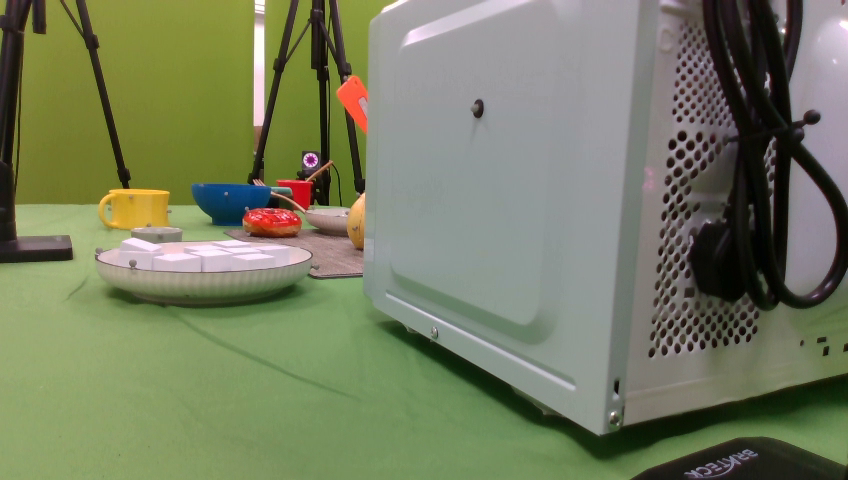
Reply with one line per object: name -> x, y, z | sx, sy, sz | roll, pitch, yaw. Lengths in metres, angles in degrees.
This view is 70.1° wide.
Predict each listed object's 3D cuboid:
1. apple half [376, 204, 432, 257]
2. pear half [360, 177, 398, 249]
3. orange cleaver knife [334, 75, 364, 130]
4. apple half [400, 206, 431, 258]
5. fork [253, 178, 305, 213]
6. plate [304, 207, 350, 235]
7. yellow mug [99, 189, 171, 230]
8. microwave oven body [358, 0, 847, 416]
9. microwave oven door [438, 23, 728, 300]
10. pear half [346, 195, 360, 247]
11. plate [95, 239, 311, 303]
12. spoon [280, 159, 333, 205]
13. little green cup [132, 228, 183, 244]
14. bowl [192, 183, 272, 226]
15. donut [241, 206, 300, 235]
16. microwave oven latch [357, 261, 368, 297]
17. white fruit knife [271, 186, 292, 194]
apple half -> -0.034, -0.013, 0.856 | 0.080, 0.074, 0.053 | 11, 12, 21
pear half -> -0.068, -0.041, 0.924 | 0.056, 0.110, 0.076 | 1, 12, -2
orange cleaver knife -> -0.072, -0.185, 1.002 | 0.012, 0.077, 0.212 | -13, -42, 35
apple half -> -0.008, -0.013, 0.861 | 0.033, 0.081, 0.081 | -4, 9, -22
fork -> -0.294, -0.084, 1.293 | 0.206, 0.018, 0.028 | 29, 12, 26
plate -> -0.123, -0.037, 1.149 | 0.209, 0.038, 0.209 | 2, 7, 0
yellow mug -> -0.519, -0.055, 1.080 | 0.099, 0.064, 0.131 | 7, 10, 26
microwave oven body -> 0.211, -0.047, 0.475 | 0.444, 0.260, 0.324 | -1, 7, -28
microwave oven door -> 0.181, -0.072, 0.621 | 0.358, 0.243, 0.039 | -2, 8, -29
pear half -> -0.104, -0.033, 0.926 | 0.031, 0.088, 0.070 | 2, 12, -2
plate -> -0.224, 0.031, 0.629 | 0.208, 0.039, 0.207 | 2, 7, 0
spoon -> -0.316, -0.159, 1.639 | 0.194, 0.022, 0.041 | -49, 32, -20
little green cup -> -0.342, 0.006, 0.779 | 0.061, 0.038, 0.061 | 2, 8, 0
bowl -> -0.381, -0.071, 1.202 | 0.151, 0.077, 0.151 | 3, 7, 0
donut -> -0.263, -0.031, 1.039 | 0.099, 0.048, 0.099 | 4, 10, 0
microwave oven latch -> -0.019, 0.033, 0.531 | 0.079, 0.029, 0.030 | -1, 7, -27
white fruit knife -> -0.399, -0.111, 1.368 | 0.208, 0.016, 0.027 | -4, -19, -29
